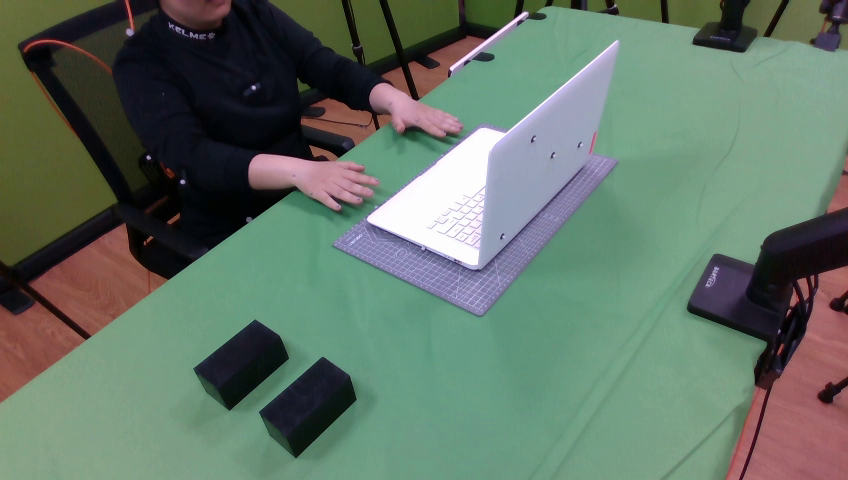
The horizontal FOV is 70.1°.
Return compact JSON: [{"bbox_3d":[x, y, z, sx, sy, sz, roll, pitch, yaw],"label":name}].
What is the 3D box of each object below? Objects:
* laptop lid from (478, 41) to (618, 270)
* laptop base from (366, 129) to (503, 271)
[{"bbox_3d":[0.191,-0.130,0.912,0.013,0.242,0.358,29,50,26],"label":"laptop lid"},{"bbox_3d":[0.099,-0.085,1.058,0.233,0.023,0.355,21,48,34],"label":"laptop base"}]
